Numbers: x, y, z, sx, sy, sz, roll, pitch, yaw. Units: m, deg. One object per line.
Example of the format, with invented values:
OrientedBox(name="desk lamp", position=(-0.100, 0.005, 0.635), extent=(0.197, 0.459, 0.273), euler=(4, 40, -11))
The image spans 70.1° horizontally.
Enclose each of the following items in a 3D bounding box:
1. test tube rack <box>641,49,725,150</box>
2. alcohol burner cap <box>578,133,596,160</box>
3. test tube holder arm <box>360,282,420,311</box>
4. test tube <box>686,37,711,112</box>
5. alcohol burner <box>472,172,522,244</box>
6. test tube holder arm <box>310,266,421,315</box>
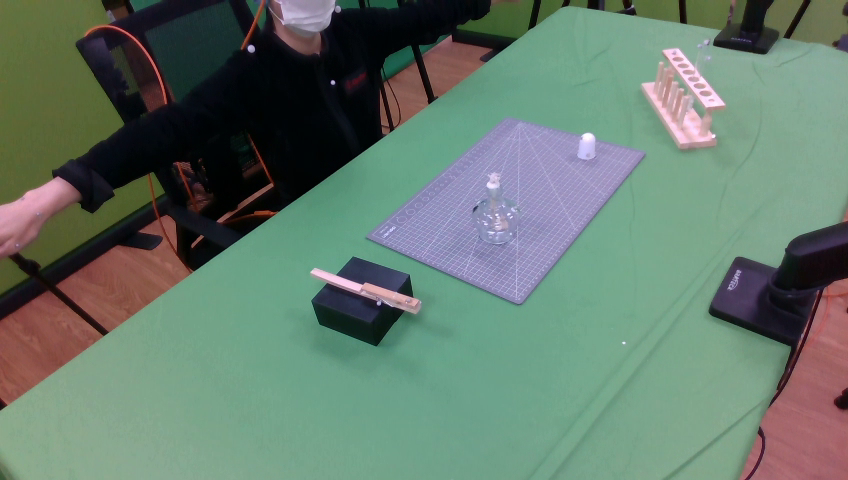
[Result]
OrientedBox(name="test tube rack", position=(0.495, -0.279, 1.175), extent=(0.067, 0.085, 0.241), euler=(-5, 41, 3))
OrientedBox(name="alcohol burner cap", position=(0.301, -0.174, 1.111), extent=(0.034, 0.048, 0.033), euler=(-5, 40, 4))
OrientedBox(name="test tube holder arm", position=(-0.046, 0.075, 0.811), extent=(0.087, 0.010, 0.015), euler=(17, 47, 25))
OrientedBox(name="test tube", position=(0.509, -0.306, 1.128), extent=(0.017, 0.151, 0.017), euler=(-3, 45, 3))
OrientedBox(name="alcohol burner", position=(0.112, -0.053, 0.942), extent=(0.078, 0.119, 0.077), euler=(-6, 40, 5))
OrientedBox(name="test tube holder arm", position=(-0.084, 0.067, 0.833), extent=(0.177, 0.013, 0.015), euler=(17, 47, 25))
